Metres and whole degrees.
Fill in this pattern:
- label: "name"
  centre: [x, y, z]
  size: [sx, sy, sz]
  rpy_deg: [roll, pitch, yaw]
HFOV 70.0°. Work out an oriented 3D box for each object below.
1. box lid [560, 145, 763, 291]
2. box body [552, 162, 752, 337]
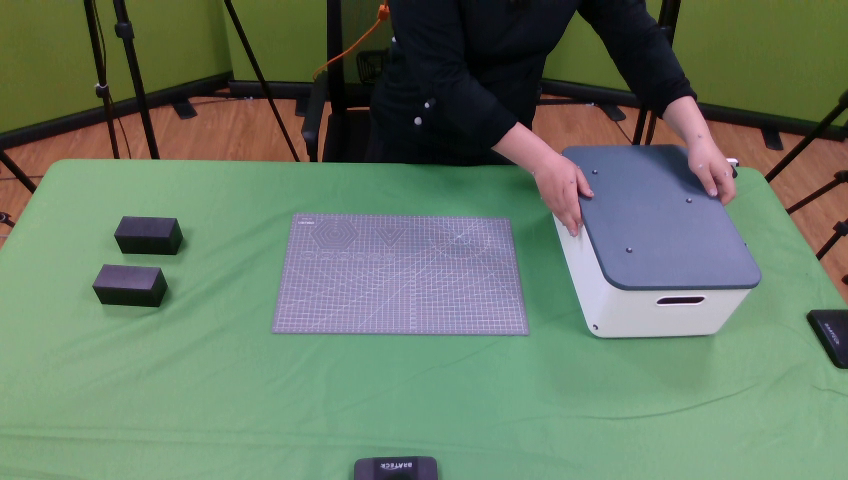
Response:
- label: "box lid"
  centre: [0.404, -0.053, 1.075]
  size: [0.263, 0.015, 0.369]
  rpy_deg: [-1, 45, -5]
- label: "box body"
  centre: [0.401, -0.001, 1.131]
  size: [0.254, 0.161, 0.361]
  rpy_deg: [-1, 46, -5]
